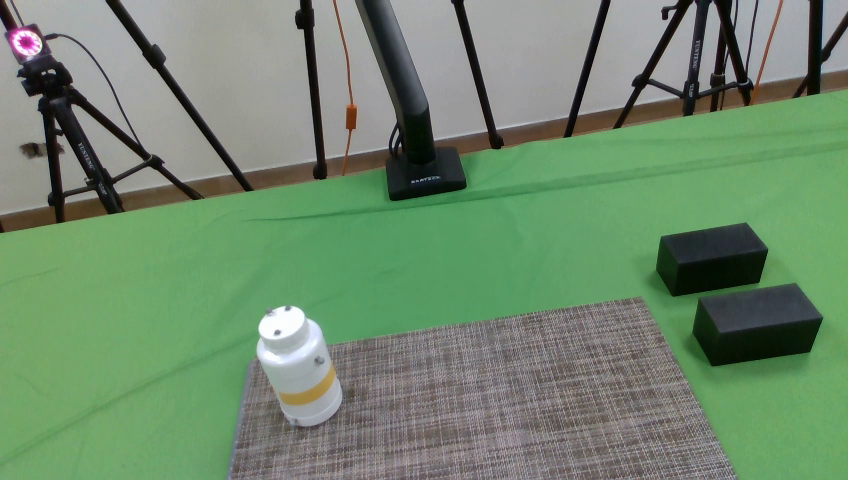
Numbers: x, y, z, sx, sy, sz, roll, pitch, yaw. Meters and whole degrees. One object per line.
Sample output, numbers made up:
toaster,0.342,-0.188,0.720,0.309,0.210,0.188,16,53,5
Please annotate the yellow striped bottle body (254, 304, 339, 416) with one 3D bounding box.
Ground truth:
yellow striped bottle body,-0.127,0.114,0.598,0.063,0.121,0.062,-6,40,5

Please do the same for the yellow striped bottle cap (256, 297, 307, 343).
yellow striped bottle cap,-0.133,0.074,0.566,0.044,0.019,0.044,-7,38,6
